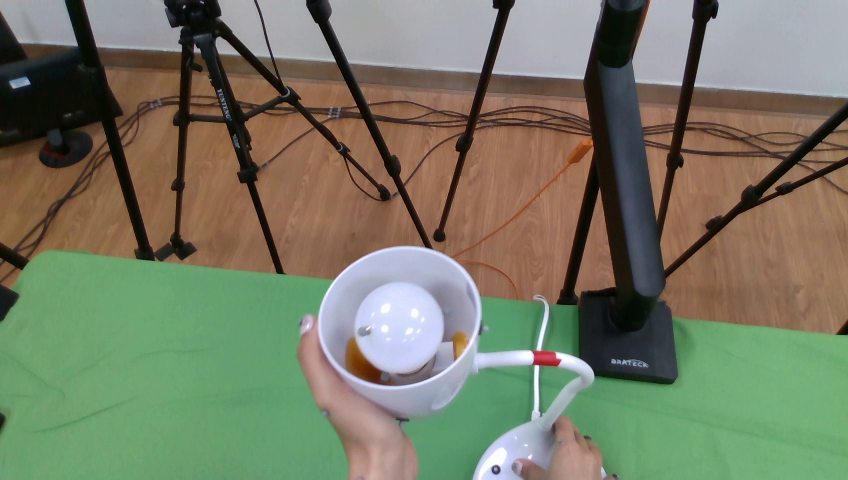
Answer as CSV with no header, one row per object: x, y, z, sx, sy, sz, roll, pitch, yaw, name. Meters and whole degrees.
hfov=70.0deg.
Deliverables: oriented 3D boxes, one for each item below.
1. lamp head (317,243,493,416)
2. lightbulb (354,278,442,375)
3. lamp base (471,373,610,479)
-0.007,0.078,0.451,0.112,0.124,0.111,-7,52,9,lamp head
-0.016,0.068,0.429,0.059,0.108,0.059,-2,58,4,lightbulb
0.131,0.227,0.627,0.161,0.182,0.177,-4,52,-4,lamp base
